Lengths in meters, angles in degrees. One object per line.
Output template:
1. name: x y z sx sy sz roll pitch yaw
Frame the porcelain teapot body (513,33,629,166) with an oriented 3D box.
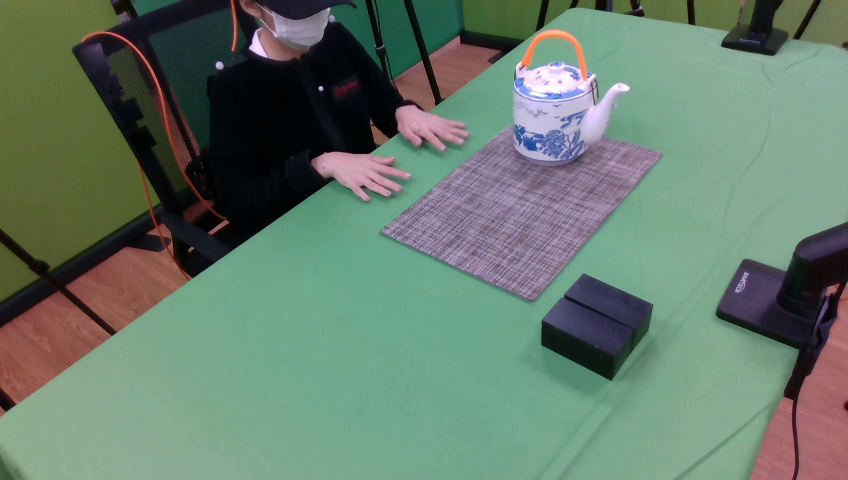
1. porcelain teapot body: 0.256 -0.247 1.065 0.204 0.226 0.145 18 47 28

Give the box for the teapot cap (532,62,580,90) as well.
1. teapot cap: 0.230 -0.286 1.053 0.085 0.044 0.085 -4 39 4
